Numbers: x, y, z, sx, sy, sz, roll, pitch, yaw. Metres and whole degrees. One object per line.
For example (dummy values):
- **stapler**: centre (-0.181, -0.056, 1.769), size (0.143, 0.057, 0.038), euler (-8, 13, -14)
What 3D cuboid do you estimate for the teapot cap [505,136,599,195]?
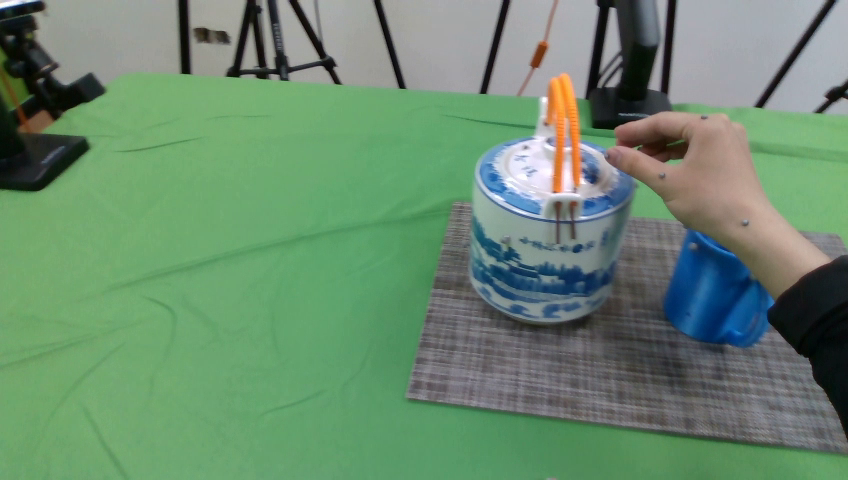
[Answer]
- **teapot cap**: centre (0.114, -0.069, 0.539), size (0.085, 0.044, 0.084), euler (2, 37, -1)

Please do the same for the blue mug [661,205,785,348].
- **blue mug**: centre (0.279, 0.043, 0.557), size (0.082, 0.107, 0.115), euler (-6, 39, -5)

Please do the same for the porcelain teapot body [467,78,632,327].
- **porcelain teapot body**: centre (0.116, -0.055, 0.586), size (0.145, 0.227, 0.203), euler (0, 39, 2)
